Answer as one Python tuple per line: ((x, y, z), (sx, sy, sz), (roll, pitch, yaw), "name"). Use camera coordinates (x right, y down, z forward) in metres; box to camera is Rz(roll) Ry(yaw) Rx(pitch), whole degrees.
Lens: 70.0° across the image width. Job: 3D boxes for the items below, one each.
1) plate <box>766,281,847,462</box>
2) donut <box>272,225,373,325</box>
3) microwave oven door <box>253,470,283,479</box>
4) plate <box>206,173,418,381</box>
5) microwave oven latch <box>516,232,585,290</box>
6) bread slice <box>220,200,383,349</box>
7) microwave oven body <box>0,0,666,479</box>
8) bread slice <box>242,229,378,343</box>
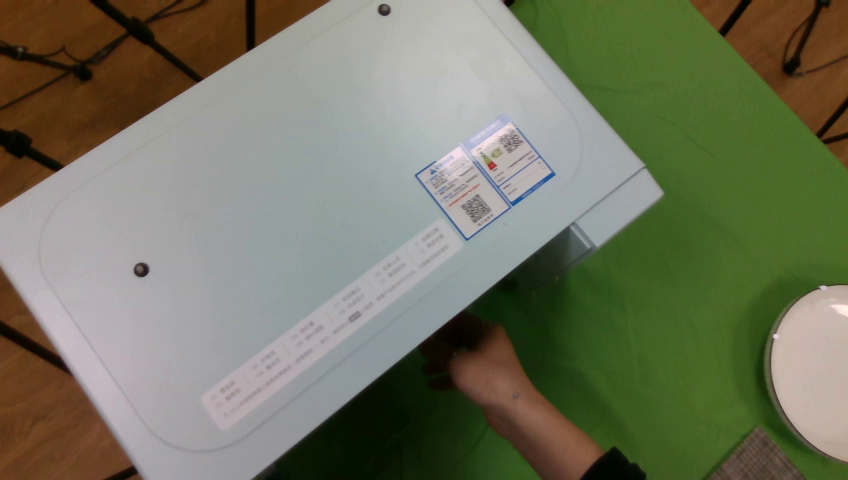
((0.495, 0.153, 0.708), (0.208, 0.039, 0.206), (1, 76, -4), "plate")
((-0.099, 0.034, 0.590), (0.099, 0.048, 0.098), (4, 78, -18), "donut")
((-0.003, 0.301, 0.508), (0.356, 0.244, 0.039), (25, 75, 2), "microwave oven door")
((-0.111, 0.037, 0.616), (0.209, 0.038, 0.208), (1, 80, -6), "plate")
((0.145, 0.024, 0.691), (0.079, 0.029, 0.030), (-33, 81, -11), "microwave oven latch")
((-0.107, 0.022, 0.565), (0.134, 0.018, 0.107), (-29, 89, -18), "bread slice")
((-0.080, -0.008, 0.581), (0.441, 0.261, 0.325), (-37, 82, -11), "microwave oven body")
((-0.120, 0.050, 0.633), (0.132, 0.019, 0.104), (-18, 78, -33), "bread slice")
